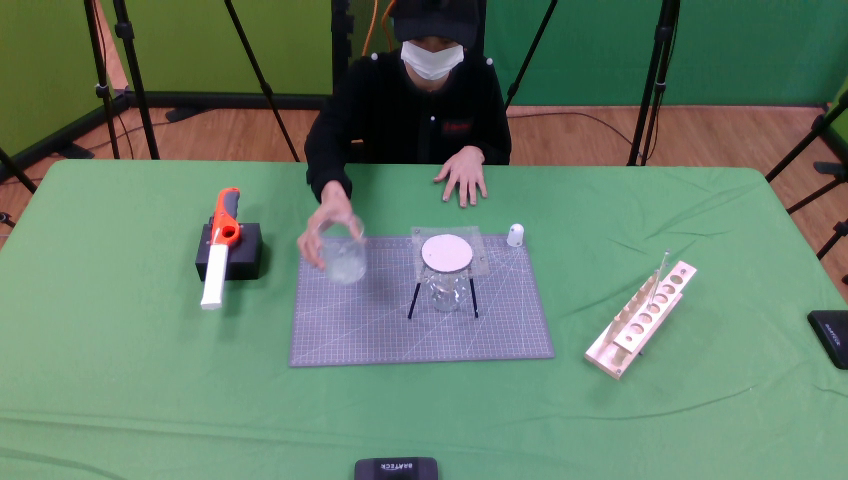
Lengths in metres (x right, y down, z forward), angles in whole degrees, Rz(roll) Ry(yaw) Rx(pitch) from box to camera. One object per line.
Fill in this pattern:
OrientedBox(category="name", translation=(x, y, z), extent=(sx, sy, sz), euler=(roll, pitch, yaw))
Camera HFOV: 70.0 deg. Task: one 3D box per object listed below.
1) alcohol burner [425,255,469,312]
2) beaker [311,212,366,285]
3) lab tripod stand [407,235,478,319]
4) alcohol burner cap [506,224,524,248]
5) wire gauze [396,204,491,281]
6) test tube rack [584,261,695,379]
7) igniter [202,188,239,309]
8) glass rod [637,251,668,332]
OrientedBox(category="alcohol burner", translation=(0.041, 0.072, 1.065), extent=(0.078, 0.120, 0.077), euler=(1, 46, -1))
OrientedBox(category="beaker", translation=(-0.133, 0.017, 0.969), extent=(0.084, 0.101, 0.073), euler=(-1, 44, -1))
OrientedBox(category="lab tripod stand", translation=(0.032, 0.065, 1.057), extent=(0.148, 0.132, 0.147), euler=(1, 45, -1))
OrientedBox(category="alcohol burner cap", translation=(0.183, -0.010, 1.206), extent=(0.034, 0.048, 0.033), euler=(1, 45, -1))
OrientedBox(category="wire gauze", translation=(0.032, 0.004, 0.999), extent=(0.125, 0.011, 0.120), euler=(-22, 54, -14))
OrientedBox(category="test tube rack", translation=(0.380, 0.127, 1.062), extent=(0.066, 0.085, 0.242), euler=(34, 53, 26))
OrientedBox(category="igniter", translation=(-0.367, 0.006, 1.095), extent=(0.057, 0.025, 0.274), euler=(-2, 49, -7))
OrientedBox(category="glass rod", translation=(0.378, 0.090, 1.005), extent=(0.008, 0.201, 0.008), euler=(-1, 44, 1))
